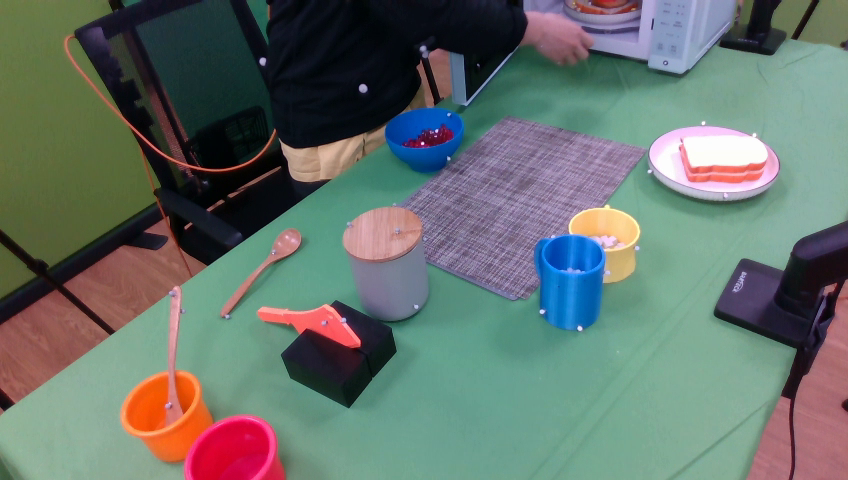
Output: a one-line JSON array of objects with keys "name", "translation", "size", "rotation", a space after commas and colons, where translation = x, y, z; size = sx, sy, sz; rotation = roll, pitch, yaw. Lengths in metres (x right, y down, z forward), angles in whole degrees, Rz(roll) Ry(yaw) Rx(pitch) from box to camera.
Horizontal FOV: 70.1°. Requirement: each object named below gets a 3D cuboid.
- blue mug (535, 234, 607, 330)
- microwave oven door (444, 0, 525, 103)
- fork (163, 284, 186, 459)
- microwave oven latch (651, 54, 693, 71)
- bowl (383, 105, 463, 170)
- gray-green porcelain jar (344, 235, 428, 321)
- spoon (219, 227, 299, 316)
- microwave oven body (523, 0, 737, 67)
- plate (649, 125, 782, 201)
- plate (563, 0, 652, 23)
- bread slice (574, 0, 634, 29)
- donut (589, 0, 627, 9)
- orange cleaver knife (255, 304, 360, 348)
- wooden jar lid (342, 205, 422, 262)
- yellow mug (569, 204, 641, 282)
[{"name": "blue mug", "translation": [0.190, 0.048, 0.824], "size": [0.082, 0.106, 0.115], "rotation": [-26, 44, -21]}, {"name": "microwave oven door", "translation": [0.142, -0.494, 1.327], "size": [0.039, 0.245, 0.356], "rotation": [15, 45, 24]}, {"name": "fork", "translation": [-0.303, 0.157, 0.733], "size": [0.028, 0.019, 0.207], "rotation": [-3, 84, 12]}, {"name": "microwave oven latch", "translation": [0.532, -0.386, 1.301], "size": [0.078, 0.029, 0.030], "rotation": [26, 52, 34]}, {"name": "bowl", "translation": [0.002, -0.185, 1.143], "size": [0.151, 0.077, 0.150], "rotation": [-4, 41, 4]}, {"name": "gray-green porcelain jar", "translation": [-0.049, 0.042, 0.849], "size": [0.106, 0.127, 0.105], "rotation": [-4, 41, 4]}, {"name": "spoon", "translation": [-0.261, 0.046, 0.954], "size": [0.041, 0.021, 0.194], "rotation": [27, 48, 10]}, {"name": "microwave oven body", "translation": [0.475, -0.602, 1.411], "size": [0.438, 0.261, 0.327], "rotation": [23, 50, 32]}, {"name": "plate", "translation": [0.493, -0.128, 1.036], "size": [0.207, 0.039, 0.206], "rotation": [-4, 41, 4]}, {"name": "plate", "translation": [0.441, -0.572, 1.459], "size": [0.209, 0.038, 0.208], "rotation": [-5, 41, 5]}, {"name": "bread slice", "translation": [0.432, -0.566, 1.474], "size": [0.105, 0.019, 0.130], "rotation": [-33, 62, -26]}, {"name": "donut", "translation": [0.437, -0.586, 1.437], "size": [0.099, 0.048, 0.098], "rotation": [-1, 52, 2]}, {"name": "orange cleaver knife", "translation": [-0.161, 0.115, 0.813], "size": [0.210, 0.077, 0.012], "rotation": [-4, 32, 46]}, {"name": "wooden jar lid", "translation": [-0.055, -0.006, 0.808], "size": [0.108, 0.021, 0.108], "rotation": [-6, 41, 6]}, {"name": "yellow mug", "translation": [0.268, -0.005, 0.904], "size": [0.099, 0.064, 0.130], "rotation": [7, 41, 15]}]
